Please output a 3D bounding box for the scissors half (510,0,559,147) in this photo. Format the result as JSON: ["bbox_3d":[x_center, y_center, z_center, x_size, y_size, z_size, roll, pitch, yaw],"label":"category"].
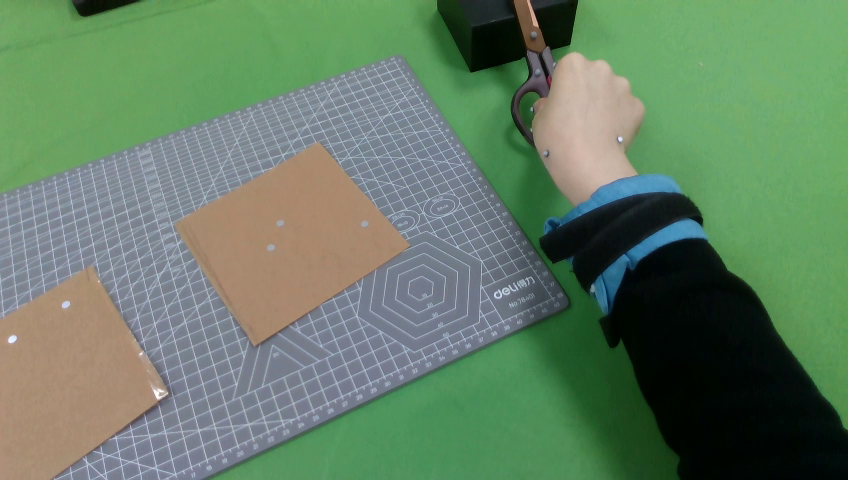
[{"bbox_3d":[0.084,-0.163,0.512,0.040,0.013,0.174,-4,81,-21],"label":"scissors half"}]

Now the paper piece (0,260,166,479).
[{"bbox_3d":[-0.262,0.093,0.408,0.138,0.009,0.134,-36,58,-16],"label":"paper piece"}]

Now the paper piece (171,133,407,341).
[{"bbox_3d":[-0.105,-0.010,0.464,0.136,0.004,0.134,-33,63,-16],"label":"paper piece"}]

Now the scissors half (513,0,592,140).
[{"bbox_3d":[0.103,-0.168,0.518,0.040,0.013,0.175,-23,88,-18],"label":"scissors half"}]
